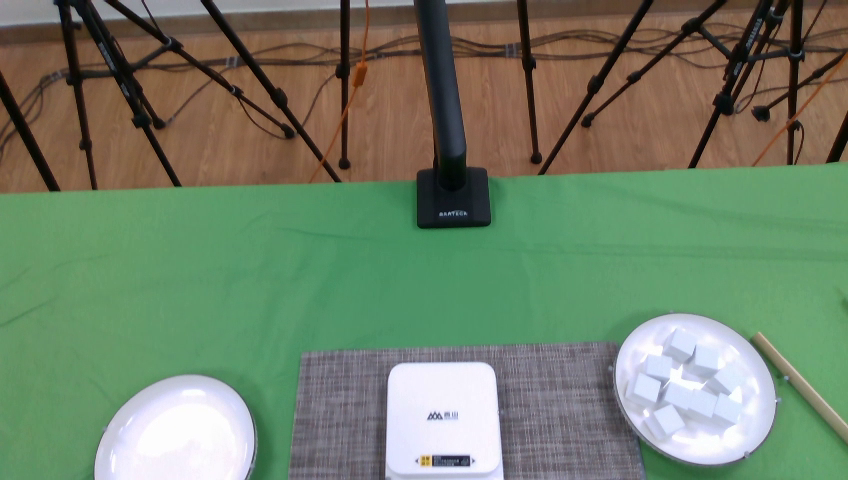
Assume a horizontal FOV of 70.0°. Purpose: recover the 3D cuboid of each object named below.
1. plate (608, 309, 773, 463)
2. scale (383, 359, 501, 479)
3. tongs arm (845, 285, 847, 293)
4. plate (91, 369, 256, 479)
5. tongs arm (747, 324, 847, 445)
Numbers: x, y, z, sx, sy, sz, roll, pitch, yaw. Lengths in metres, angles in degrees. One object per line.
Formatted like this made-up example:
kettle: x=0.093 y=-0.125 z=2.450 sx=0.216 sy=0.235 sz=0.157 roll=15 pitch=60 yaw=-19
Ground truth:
plate: x=0.349 y=0.194 z=0.810 sx=0.207 sy=0.039 sz=0.205 roll=-1 pitch=59 yaw=2
scale: x=0.022 y=0.253 z=0.788 sx=0.148 sy=0.032 sz=0.199 roll=-2 pitch=60 yaw=2
tongs arm: x=0.643 y=0.228 z=0.778 sx=0.051 sy=0.027 sz=0.381 roll=-15 pitch=61 yaw=-6
plate: x=-0.321 y=0.273 z=0.791 sx=0.209 sy=0.038 sz=0.207 roll=-1 pitch=60 yaw=2
tongs arm: x=0.560 y=0.260 z=0.767 sx=0.028 sy=0.028 sz=0.384 roll=-28 pitch=63 yaw=-16
